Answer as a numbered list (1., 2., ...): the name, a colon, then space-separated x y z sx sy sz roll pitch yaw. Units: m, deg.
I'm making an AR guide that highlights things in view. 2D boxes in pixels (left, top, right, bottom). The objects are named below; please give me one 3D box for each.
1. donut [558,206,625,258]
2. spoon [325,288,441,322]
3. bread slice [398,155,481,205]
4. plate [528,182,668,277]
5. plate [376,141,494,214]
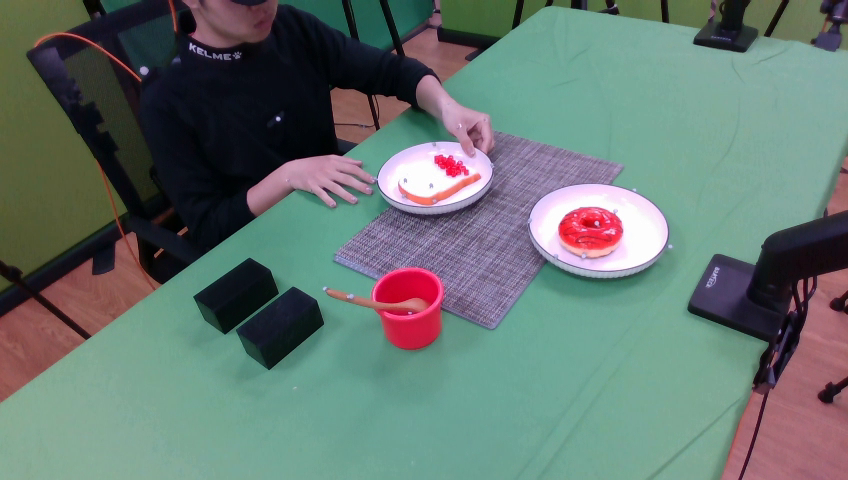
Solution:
1. donut: 0.254 -0.015 0.917 0.099 0.048 0.098 -5 41 5
2. spoon: -0.047 0.084 0.776 0.195 0.021 0.041 12 27 -42
3. bread slice: 0.021 -0.106 1.077 0.132 0.019 0.104 -31 45 -29
4. plate: 0.265 -0.014 0.933 0.207 0.039 0.206 -3 42 3
5. plate: 0.021 -0.107 1.072 0.209 0.038 0.208 -4 40 4
